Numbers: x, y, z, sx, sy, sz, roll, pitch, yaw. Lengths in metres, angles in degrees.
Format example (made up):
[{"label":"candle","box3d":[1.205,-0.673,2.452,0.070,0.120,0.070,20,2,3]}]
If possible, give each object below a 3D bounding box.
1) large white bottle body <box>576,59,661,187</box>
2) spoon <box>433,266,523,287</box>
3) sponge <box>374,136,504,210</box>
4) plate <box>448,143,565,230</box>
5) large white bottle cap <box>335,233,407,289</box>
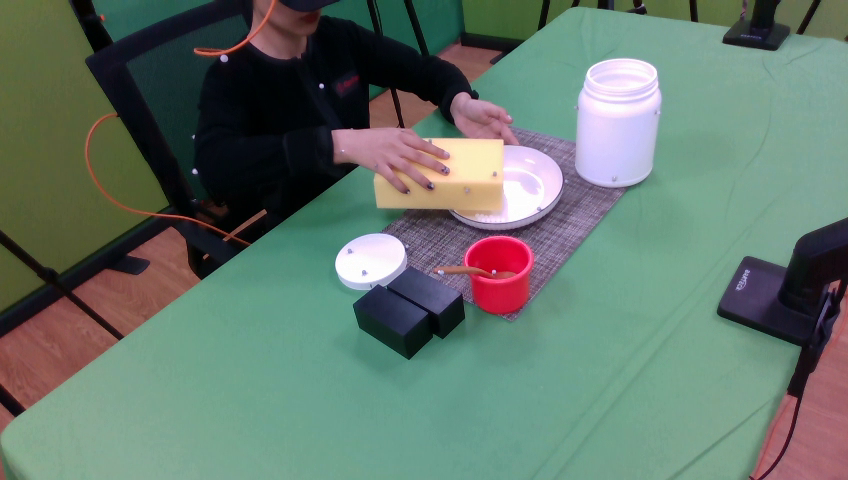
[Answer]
[{"label":"large white bottle body","box3d":[0.326,-0.197,1.021,0.130,0.185,0.130,-5,40,5]},{"label":"spoon","box3d":[0.074,0.045,0.815,0.041,0.021,0.195,32,12,38]},{"label":"sponge","box3d":[0.028,-0.112,1.002,0.207,0.061,0.117,1,46,2]},{"label":"plate","box3d":[0.134,-0.088,1.033,0.209,0.038,0.208,-6,45,7]},{"label":"large white bottle cap","box3d":[-0.085,0.032,0.961,0.115,0.018,0.114,-6,41,6]}]
